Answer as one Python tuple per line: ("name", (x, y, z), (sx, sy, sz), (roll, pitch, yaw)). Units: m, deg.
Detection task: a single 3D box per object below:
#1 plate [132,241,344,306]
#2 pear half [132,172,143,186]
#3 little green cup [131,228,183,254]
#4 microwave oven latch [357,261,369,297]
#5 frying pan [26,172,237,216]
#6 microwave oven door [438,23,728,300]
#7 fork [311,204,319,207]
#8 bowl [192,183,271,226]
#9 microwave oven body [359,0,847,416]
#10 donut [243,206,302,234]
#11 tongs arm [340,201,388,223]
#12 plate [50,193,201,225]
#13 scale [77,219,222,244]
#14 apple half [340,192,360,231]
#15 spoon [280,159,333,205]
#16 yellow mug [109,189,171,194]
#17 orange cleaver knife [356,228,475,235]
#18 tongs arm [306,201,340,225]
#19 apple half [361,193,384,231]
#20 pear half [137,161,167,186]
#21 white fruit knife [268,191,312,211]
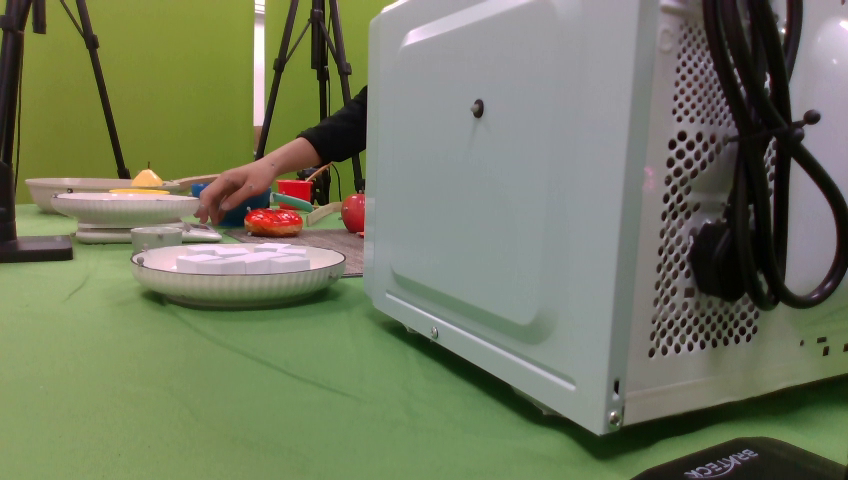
("plate", (-0.187, 0.033, 0.625), (0.208, 0.039, 0.207), (2, 7, 0))
("pear half", (-0.638, -0.113, 1.361), (0.031, 0.088, 0.070), (5, 11, 4))
("little green cup", (-0.342, 0.006, 0.779), (0.061, 0.038, 0.061), (2, 8, 0))
("microwave oven latch", (-0.019, 0.033, 0.530), (0.079, 0.029, 0.030), (-1, 7, -26))
("frying pan", (-0.624, -0.118, 1.387), (0.305, 0.102, 0.490), (8, 17, 32))
("microwave oven door", (0.181, -0.073, 0.621), (0.358, 0.243, 0.039), (-2, 8, -29))
("fork", (-0.356, -0.105, 1.526), (0.208, 0.018, 0.028), (16, -6, -41))
("bowl", (-0.382, -0.071, 1.202), (0.151, 0.077, 0.151), (3, 7, 0))
("microwave oven body", (0.211, -0.047, 0.474), (0.444, 0.260, 0.324), (-1, 7, -28))
("donut", (-0.261, -0.032, 1.042), (0.099, 0.048, 0.099), (3, 8, 0))
("tongs arm", (-0.149, -0.069, 1.429), (0.051, 0.026, 0.383), (-4, 8, -15))
("plate", (-0.460, -0.050, 0.945), (0.209, 0.038, 0.209), (2, 7, 0))
("scale", (-0.435, -0.018, 0.963), (0.202, 0.031, 0.148), (-1, 8, -27))
("apple half", (-0.130, -0.054, 1.144), (0.053, 0.074, 0.081), (0, 10, 12))
("spoon", (-0.317, -0.159, 1.640), (0.194, 0.022, 0.041), (-49, 32, -20))
("yellow mug", (-0.519, -0.055, 1.080), (0.099, 0.064, 0.131), (7, 10, 26))
("orange cleaver knife", (-0.017, -0.015, 1.080), (0.211, 0.012, 0.077), (0, 2, -2))
("tongs arm", (-0.235, -0.066, 1.414), (0.028, 0.028, 0.387), (-6, 7, 1))
("apple half", (-0.092, -0.053, 1.136), (0.033, 0.081, 0.081), (0, 7, 13))
("pear half", (-0.602, -0.120, 1.354), (0.056, 0.110, 0.076), (4, 11, 6))
("white fruit knife", (-0.364, -0.105, 1.464), (0.208, 0.027, 0.016), (15, 0, -34))
